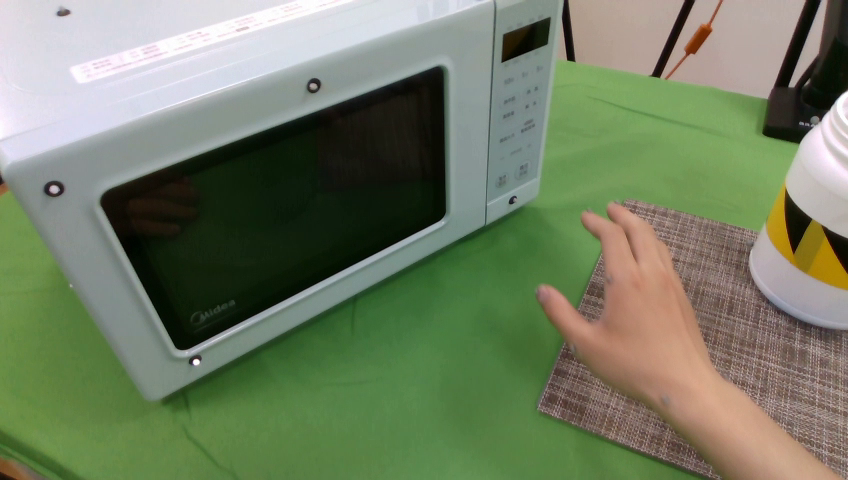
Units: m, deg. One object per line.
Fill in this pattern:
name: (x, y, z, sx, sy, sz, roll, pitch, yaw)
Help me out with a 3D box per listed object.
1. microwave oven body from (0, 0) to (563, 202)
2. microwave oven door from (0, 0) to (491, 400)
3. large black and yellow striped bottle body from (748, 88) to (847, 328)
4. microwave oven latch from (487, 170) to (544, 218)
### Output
microwave oven body: (-0.143, -0.128, 0.599, 0.442, 0.262, 0.322, -28, 50, -23)
microwave oven door: (-0.093, -0.036, 0.491, 0.356, 0.246, 0.039, -28, 49, -24)
large black and yellow striped bottle body: (0.376, -0.028, 0.520, 0.131, 0.186, 0.129, -1, 44, 2)
microwave oven latch: (0.092, -0.054, 0.650, 0.079, 0.030, 0.030, -27, 49, -22)
